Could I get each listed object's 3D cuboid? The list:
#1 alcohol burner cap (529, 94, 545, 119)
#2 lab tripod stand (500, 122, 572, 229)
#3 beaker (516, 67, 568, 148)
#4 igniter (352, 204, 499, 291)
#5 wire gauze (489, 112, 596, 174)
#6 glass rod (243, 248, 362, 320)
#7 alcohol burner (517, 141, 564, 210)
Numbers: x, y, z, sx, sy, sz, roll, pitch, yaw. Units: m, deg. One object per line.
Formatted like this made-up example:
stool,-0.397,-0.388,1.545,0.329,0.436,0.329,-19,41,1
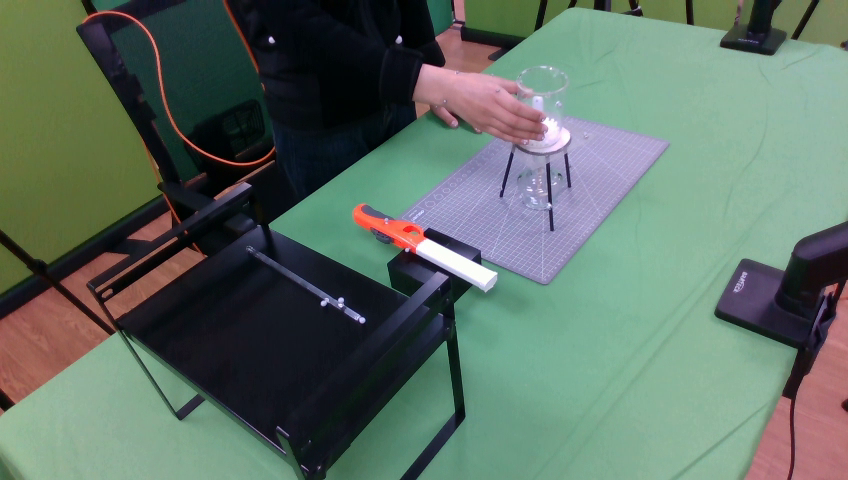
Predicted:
alcohol burner cap,0.233,-0.277,1.247,0.034,0.048,0.033,-5,41,5
lab tripod stand,0.194,-0.110,0.985,0.148,0.132,0.147,-3,41,3
beaker,0.176,-0.197,0.907,0.073,0.100,0.084,28,54,28
igniter,-0.009,0.005,0.895,0.274,0.025,0.057,27,48,32
wire gauze,0.183,-0.159,0.943,0.122,0.011,0.124,-26,45,-16
glass rod,-0.140,0.045,0.674,0.198,0.008,0.008,25,50,32
alcohol burner,0.193,-0.110,1.001,0.078,0.119,0.077,-5,38,5
